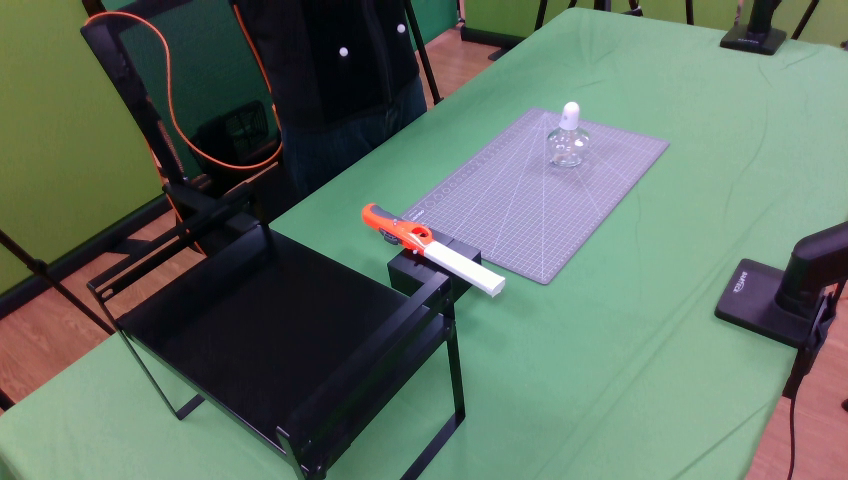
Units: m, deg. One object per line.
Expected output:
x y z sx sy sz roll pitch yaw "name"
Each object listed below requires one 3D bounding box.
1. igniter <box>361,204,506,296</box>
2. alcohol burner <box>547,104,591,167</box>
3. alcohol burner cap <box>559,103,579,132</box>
0.003 0.008 0.889 0.274 0.025 0.057 29 49 33 "igniter"
0.261 -0.192 1.087 0.078 0.119 0.077 -5 42 5 "alcohol burner"
0.256 -0.218 1.063 0.034 0.048 0.033 0 43 0 "alcohol burner cap"
